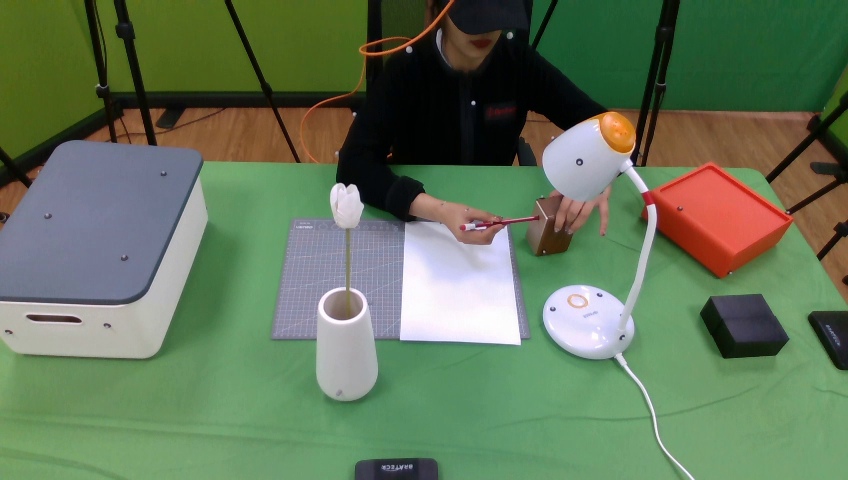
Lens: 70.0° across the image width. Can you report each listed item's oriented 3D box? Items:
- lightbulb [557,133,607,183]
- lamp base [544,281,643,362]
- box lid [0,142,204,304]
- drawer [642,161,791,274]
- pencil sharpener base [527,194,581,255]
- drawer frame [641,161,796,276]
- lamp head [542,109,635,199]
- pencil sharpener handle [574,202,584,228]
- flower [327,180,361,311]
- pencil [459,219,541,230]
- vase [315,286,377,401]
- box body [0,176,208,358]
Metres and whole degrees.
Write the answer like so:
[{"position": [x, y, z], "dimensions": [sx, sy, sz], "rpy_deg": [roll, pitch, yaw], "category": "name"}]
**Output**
[{"position": [0.242, -0.127, 0.916], "dimensions": [0.059, 0.108, 0.059], "rpy_deg": [5, 67, -13], "category": "lightbulb"}, {"position": [0.304, 0.095, 1.014], "dimensions": [0.161, 0.181, 0.178], "rpy_deg": [-24, 54, -24], "category": "lamp base"}, {"position": [-0.533, -0.044, 0.995], "dimensions": [0.263, 0.015, 0.369], "rpy_deg": [3, 45, -3], "category": "box lid"}, {"position": [0.596, -0.051, 1.246], "dimensions": [0.194, 0.073, 0.210], "rpy_deg": [-23, 53, -25], "category": "drawer"}, {"position": [0.253, -0.030, 1.182], "dimensions": [0.077, 0.107, 0.061], "rpy_deg": [-9, 46, -15], "category": "pencil sharpener base"}, {"position": [0.599, -0.051, 1.244], "dimensions": [0.202, 0.083, 0.212], "rpy_deg": [-24, 52, -25], "category": "drawer frame"}, {"position": [0.253, -0.131, 0.893], "dimensions": [0.113, 0.123, 0.112], "rpy_deg": [10, 66, -24], "category": "lamp head"}, {"position": [0.303, -0.047, 1.187], "dimensions": [0.031, 0.068, 0.035], "rpy_deg": [-9, 51, -14], "category": "pencil sharpener handle"}, {"position": [-0.110, 0.086, 0.867], "dimensions": [0.044, 0.363, 0.038], "rpy_deg": [22, 33, 35], "category": "flower"}, {"position": [0.157, -0.031, 1.132], "dimensions": [0.194, 0.012, 0.012], "rpy_deg": [-4, 46, -17], "category": "pencil"}, {"position": [-0.119, 0.159, 0.911], "dimensions": [0.098, 0.201, 0.097], "rpy_deg": [2, 47, -2], "category": "vase"}, {"position": [-0.546, 0.017, 1.045], "dimensions": [0.254, 0.161, 0.361], "rpy_deg": [2, 46, -2], "category": "box body"}]
